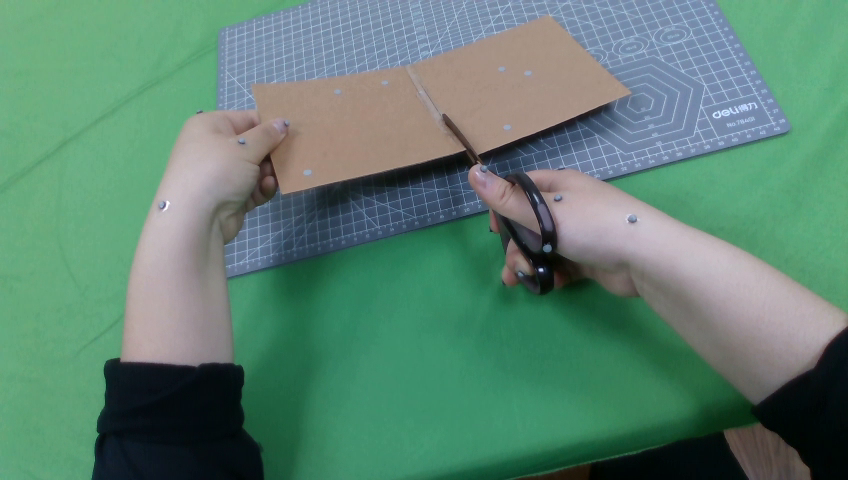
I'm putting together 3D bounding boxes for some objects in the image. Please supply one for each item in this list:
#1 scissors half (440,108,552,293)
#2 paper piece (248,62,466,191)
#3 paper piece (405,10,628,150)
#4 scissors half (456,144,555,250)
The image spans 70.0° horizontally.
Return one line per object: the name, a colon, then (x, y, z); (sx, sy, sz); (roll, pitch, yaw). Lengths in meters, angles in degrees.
scissors half: (0.044, -0.035, 0.423); (0.013, 0.040, 0.173); (-20, 60, -8)
paper piece: (-0.057, -0.094, 0.465); (0.138, 0.009, 0.134); (-14, 44, -13)
paper piece: (0.069, -0.135, 0.489); (0.135, 0.004, 0.134); (-21, 51, -6)
scissors half: (0.042, -0.049, 0.407); (0.013, 0.040, 0.173); (-16, 35, -12)
